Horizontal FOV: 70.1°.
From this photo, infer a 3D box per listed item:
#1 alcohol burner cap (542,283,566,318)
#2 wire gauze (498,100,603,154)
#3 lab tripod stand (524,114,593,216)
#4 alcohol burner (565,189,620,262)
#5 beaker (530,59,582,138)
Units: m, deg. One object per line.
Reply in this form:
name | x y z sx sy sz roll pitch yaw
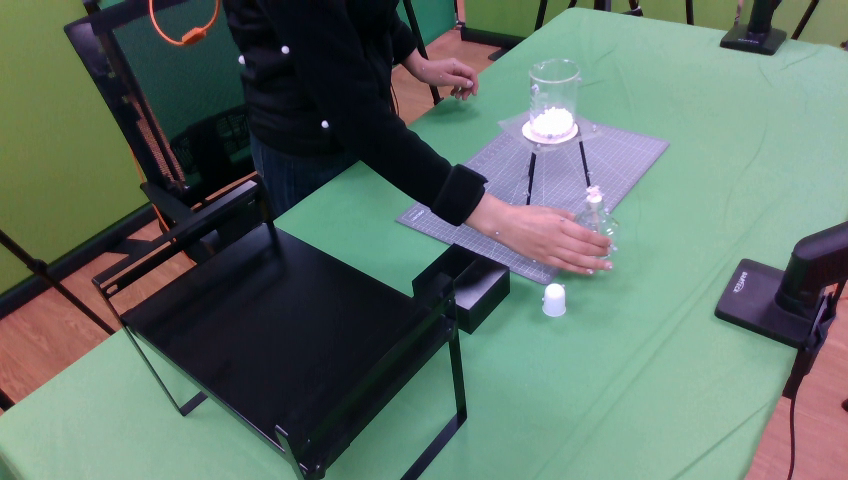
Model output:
alcohol burner cap | 0.181 0.081 0.839 0.034 0.048 0.033 -4 40 4
wire gauze | 0.199 -0.180 0.963 0.125 0.011 0.120 -21 42 -12
lab tripod stand | 0.210 -0.127 1.001 0.148 0.132 0.147 -4 43 4
alcohol burner | 0.242 -0.026 0.871 0.078 0.120 0.077 -8 42 8
beaker | 0.198 -0.217 0.932 0.074 0.101 0.083 -22 43 -16
